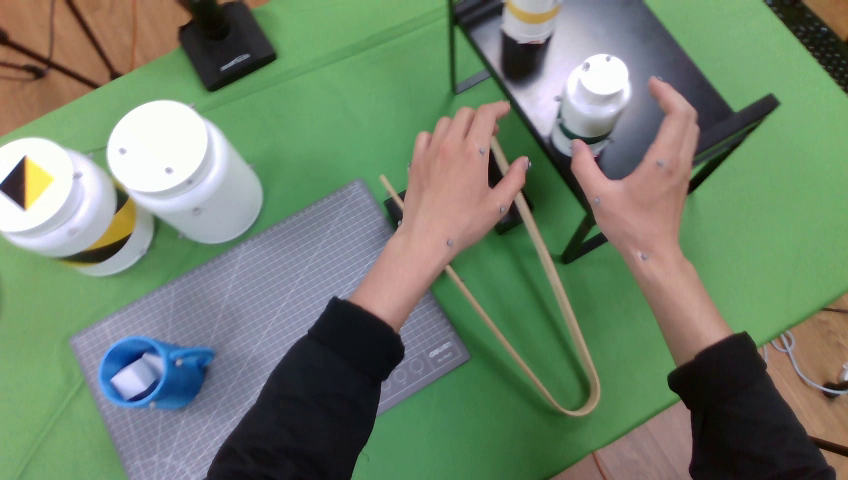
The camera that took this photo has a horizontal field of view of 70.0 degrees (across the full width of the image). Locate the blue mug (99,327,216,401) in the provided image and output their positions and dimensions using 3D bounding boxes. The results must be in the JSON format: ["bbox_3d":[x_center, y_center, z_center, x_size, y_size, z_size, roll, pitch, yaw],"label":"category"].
[{"bbox_3d":[-0.315,0.149,0.746,0.116,0.106,0.082,-22,74,-4],"label":"blue mug"}]

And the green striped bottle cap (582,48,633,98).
[{"bbox_3d":[0.171,-0.156,0.565,0.044,0.020,0.044,-1,76,3],"label":"green striped bottle cap"}]

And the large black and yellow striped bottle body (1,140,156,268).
[{"bbox_3d":[-0.442,-0.047,0.766,0.131,0.185,0.130,-1,74,2],"label":"large black and yellow striped bottle body"}]

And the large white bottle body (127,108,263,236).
[{"bbox_3d":[-0.293,-0.091,0.772,0.130,0.185,0.130,0,74,2],"label":"large white bottle body"}]

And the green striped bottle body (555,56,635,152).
[{"bbox_3d":[0.173,-0.142,0.616,0.063,0.120,0.063,-1,74,3],"label":"green striped bottle body"}]

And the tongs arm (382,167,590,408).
[{"bbox_3d":[0.076,0.056,0.760,0.051,0.026,0.384,-34,88,-10],"label":"tongs arm"}]

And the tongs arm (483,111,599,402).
[{"bbox_3d":[0.147,0.016,0.771,0.028,0.028,0.386,-20,86,-12],"label":"tongs arm"}]

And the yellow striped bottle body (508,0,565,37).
[{"bbox_3d":[0.127,-0.281,0.655,0.063,0.121,0.062,-1,74,2],"label":"yellow striped bottle body"}]

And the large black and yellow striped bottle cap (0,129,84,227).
[{"bbox_3d":[-0.447,-0.072,0.686,0.115,0.019,0.114,0,75,1],"label":"large black and yellow striped bottle cap"}]

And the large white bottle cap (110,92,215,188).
[{"bbox_3d":[-0.298,-0.115,0.691,0.115,0.018,0.114,0,74,2],"label":"large white bottle cap"}]
